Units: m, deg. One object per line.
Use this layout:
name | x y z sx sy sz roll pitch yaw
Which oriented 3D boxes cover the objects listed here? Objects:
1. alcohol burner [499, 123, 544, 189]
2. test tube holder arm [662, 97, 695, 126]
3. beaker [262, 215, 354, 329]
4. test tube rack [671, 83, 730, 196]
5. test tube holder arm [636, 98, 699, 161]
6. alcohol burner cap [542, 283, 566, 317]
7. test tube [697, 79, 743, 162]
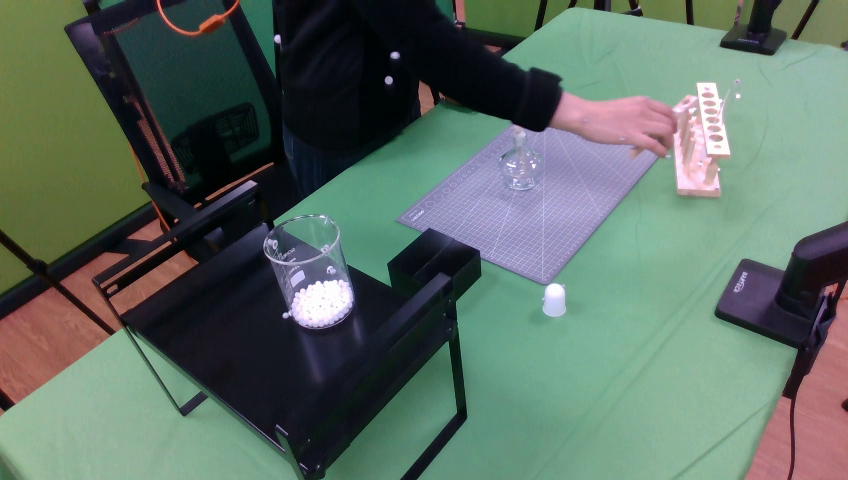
alcohol burner | 0.169 -0.149 1.048 0.078 0.119 0.077 -6 41 5
test tube holder arm | 0.391 -0.194 0.928 0.088 0.015 0.010 -39 37 -29
beaker | -0.112 0.034 0.616 0.073 0.101 0.084 13 44 23
test tube rack | 0.482 -0.184 1.067 0.066 0.085 0.242 5 42 15
test tube holder arm | 0.365 -0.168 0.902 0.013 0.015 0.179 17 47 43
alcohol burner cap | 0.181 0.081 0.839 0.034 0.048 0.033 -3 41 3
test tube | 0.486 -0.194 0.998 0.017 0.150 0.017 5 40 -4
